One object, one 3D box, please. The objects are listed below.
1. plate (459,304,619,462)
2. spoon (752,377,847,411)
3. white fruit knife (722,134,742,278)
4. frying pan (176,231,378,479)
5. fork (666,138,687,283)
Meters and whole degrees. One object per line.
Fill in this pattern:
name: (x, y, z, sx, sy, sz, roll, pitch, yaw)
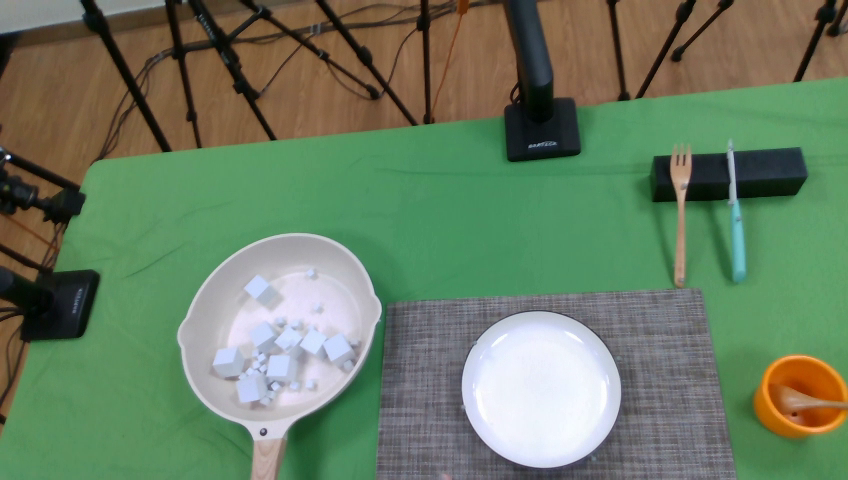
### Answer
plate: (0.150, 0.188, 0.804, 0.207, 0.039, 0.206, -5, 62, 10)
spoon: (0.462, 0.177, 0.679, 0.193, 0.022, 0.041, -13, 55, 53)
white fruit knife: (0.429, -0.051, 0.849, 0.016, 0.027, 0.206, -1, 78, 10)
frying pan: (-0.208, 0.211, 0.835, 0.306, 0.104, 0.483, -7, 53, 9)
fork: (0.358, -0.042, 0.861, 0.028, 0.019, 0.206, 3, 82, 6)
